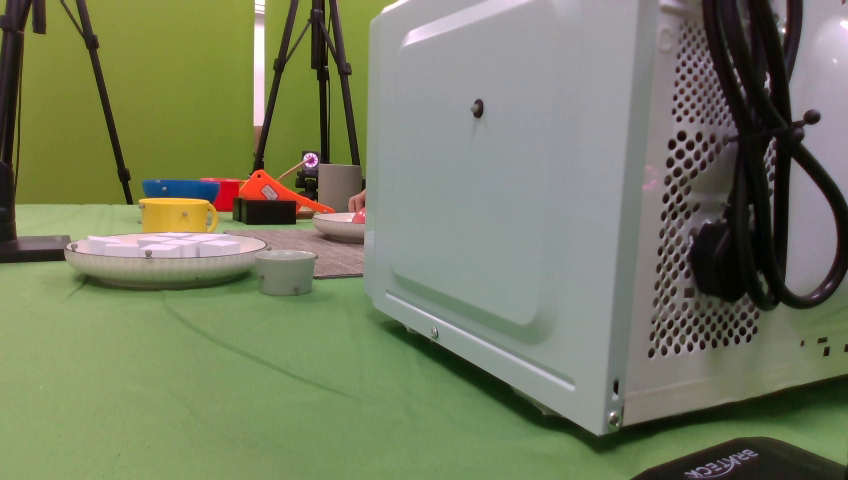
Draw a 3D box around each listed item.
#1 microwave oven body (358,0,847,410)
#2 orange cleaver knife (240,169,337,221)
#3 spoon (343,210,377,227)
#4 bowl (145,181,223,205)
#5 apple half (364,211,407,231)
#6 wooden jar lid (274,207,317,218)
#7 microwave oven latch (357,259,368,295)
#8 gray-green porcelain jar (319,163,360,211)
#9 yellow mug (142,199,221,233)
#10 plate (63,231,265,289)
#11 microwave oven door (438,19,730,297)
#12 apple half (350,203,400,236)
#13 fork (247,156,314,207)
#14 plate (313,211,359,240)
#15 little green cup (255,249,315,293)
[{"bbox_3d":[0.210,-0.051,0.471,0.444,0.260,0.324,-1,7,-28],"label":"microwave oven body"},{"bbox_3d":[-0.287,-0.081,1.298,0.212,0.077,0.012,25,-3,-31],"label":"orange cleaver knife"},{"bbox_3d":[-0.130,-0.052,1.304,0.041,0.021,0.194,-13,10,14],"label":"spoon"},{"bbox_3d":[-0.499,-0.081,1.261,0.151,0.077,0.151,2,8,0],"label":"bowl"},{"bbox_3d":[-0.068,-0.037,1.103,0.081,0.033,0.081,-1,9,0],"label":"apple half"},{"bbox_3d":[-0.303,-0.065,1.409,0.108,0.020,0.108,3,9,0],"label":"wooden jar lid"},{"bbox_3d":[-0.019,0.031,0.529,0.079,0.029,0.030,-1,7,-26],"label":"microwave oven latch"},{"bbox_3d":[-0.205,-0.126,1.490,0.106,0.126,0.106,2,7,0],"label":"gray-green porcelain jar"},{"bbox_3d":[-0.372,-0.030,0.947,0.099,0.064,0.131,6,7,30],"label":"yellow mug"},{"bbox_3d":[-0.288,0.021,0.687,0.208,0.039,0.207,2,8,0],"label":"plate"},{"bbox_3d":[0.181,-0.076,0.618,0.358,0.243,0.039,-2,8,-28],"label":"microwave oven door"},{"bbox_3d":[-0.081,-0.036,1.024,0.081,0.053,0.074,-2,11,-34],"label":"apple half"},{"bbox_3d":[-0.360,-0.147,1.523,0.207,0.019,0.028,-43,16,-6],"label":"fork"},{"bbox_3d":[-0.091,-0.026,1.063,0.209,0.038,0.209,2,7,0],"label":"plate"},{"bbox_3d":[-0.144,0.032,0.627,0.061,0.038,0.061,2,6,0],"label":"little green cup"}]
